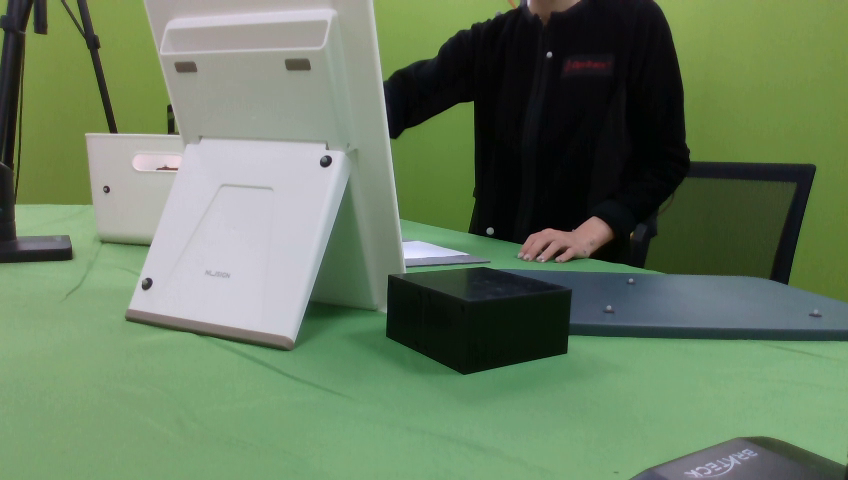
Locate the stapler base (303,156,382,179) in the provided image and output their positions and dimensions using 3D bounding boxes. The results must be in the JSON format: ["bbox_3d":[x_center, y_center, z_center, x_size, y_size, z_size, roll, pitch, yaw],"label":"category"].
[{"bbox_3d":[-0.112,-0.103,0.818,0.130,0.024,0.041,18,14,40],"label":"stapler base"}]

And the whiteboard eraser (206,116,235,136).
[{"bbox_3d":[-0.450,-0.252,1.335,0.056,0.042,0.112,1,7,-22],"label":"whiteboard eraser"}]

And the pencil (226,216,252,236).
[{"bbox_3d":[-0.334,-0.026,1.092,0.012,0.012,0.193,2,10,-5],"label":"pencil"}]

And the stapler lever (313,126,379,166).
[{"bbox_3d":[-0.107,-0.128,0.813,0.117,0.040,0.027,18,15,40],"label":"stapler lever"}]

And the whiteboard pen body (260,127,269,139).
[{"bbox_3d":[-0.366,-0.247,1.392,0.017,0.017,0.140,0,3,-17],"label":"whiteboard pen body"}]

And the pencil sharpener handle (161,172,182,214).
[{"bbox_3d":[-0.410,-0.075,0.973,0.036,0.067,0.031,-13,5,11],"label":"pencil sharpener handle"}]

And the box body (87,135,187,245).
[{"bbox_3d":[-0.338,-0.088,1.022,0.254,0.160,0.364,3,7,9],"label":"box body"}]

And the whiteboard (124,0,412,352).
[{"bbox_3d":[-0.151,-0.049,0.472,0.216,0.305,0.144,6,27,24],"label":"whiteboard"}]

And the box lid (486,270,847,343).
[{"bbox_3d":[0.267,0.066,0.643,0.372,0.015,0.263,2,7,-5],"label":"box lid"}]

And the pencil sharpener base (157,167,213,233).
[{"bbox_3d":[-0.406,-0.069,1.025,0.061,0.107,0.077,2,8,9],"label":"pencil sharpener base"}]

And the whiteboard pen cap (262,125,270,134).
[{"bbox_3d":[-0.349,-0.244,1.337,0.018,0.018,0.033,0,2,-17],"label":"whiteboard pen cap"}]
